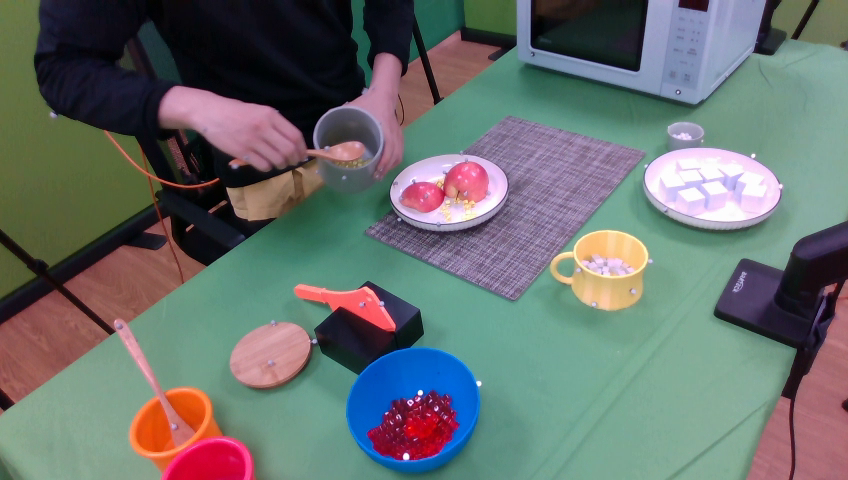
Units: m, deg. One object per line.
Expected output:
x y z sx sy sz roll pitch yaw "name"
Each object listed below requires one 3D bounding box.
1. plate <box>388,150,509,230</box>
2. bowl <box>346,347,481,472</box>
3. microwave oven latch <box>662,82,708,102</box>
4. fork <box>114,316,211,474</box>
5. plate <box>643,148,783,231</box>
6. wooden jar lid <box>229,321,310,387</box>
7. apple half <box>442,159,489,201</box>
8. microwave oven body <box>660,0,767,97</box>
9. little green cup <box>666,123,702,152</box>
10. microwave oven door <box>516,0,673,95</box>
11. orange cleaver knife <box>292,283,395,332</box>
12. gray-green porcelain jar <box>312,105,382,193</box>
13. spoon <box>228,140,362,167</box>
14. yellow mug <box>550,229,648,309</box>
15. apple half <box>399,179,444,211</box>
0.044 -0.083 1.043 0.209 0.038 0.208 -4 41 4 "plate"
-0.008 0.205 0.691 0.151 0.077 0.150 -4 40 4 "bowl"
0.518 -0.299 1.203 0.078 0.029 0.030 29 53 36 "microwave oven latch"
-0.309 0.179 0.708 0.028 0.018 0.207 -30 89 -24 "fork"
0.464 -0.080 0.986 0.207 0.039 0.206 -4 40 4 "plate"
-0.207 0.156 0.820 0.108 0.021 0.108 -3 39 3 "wooden jar lid"
0.074 -0.110 1.047 0.080 0.053 0.075 21 46 30 "apple half"
0.473 -0.517 1.313 0.438 0.261 0.327 26 51 34 "microwave oven body"
0.472 -0.183 1.102 0.061 0.039 0.061 -5 39 4 "little green cup"
0.344 -0.458 1.256 0.353 0.245 0.039 26 51 33 "microwave oven door"
-0.115 0.092 0.835 0.209 0.077 0.012 1 32 48 "orange cleaver knife"
-0.124 -0.139 0.965 0.106 0.126 0.105 2 75 -8 "gray-green porcelain jar"
-0.173 -0.119 0.830 0.195 0.021 0.041 -10 46 -35 "spoon"
0.245 0.040 0.857 0.130 0.064 0.099 1 42 11 "yellow mug"
-0.004 -0.088 1.045 0.081 0.033 0.081 -1 43 2 "apple half"
